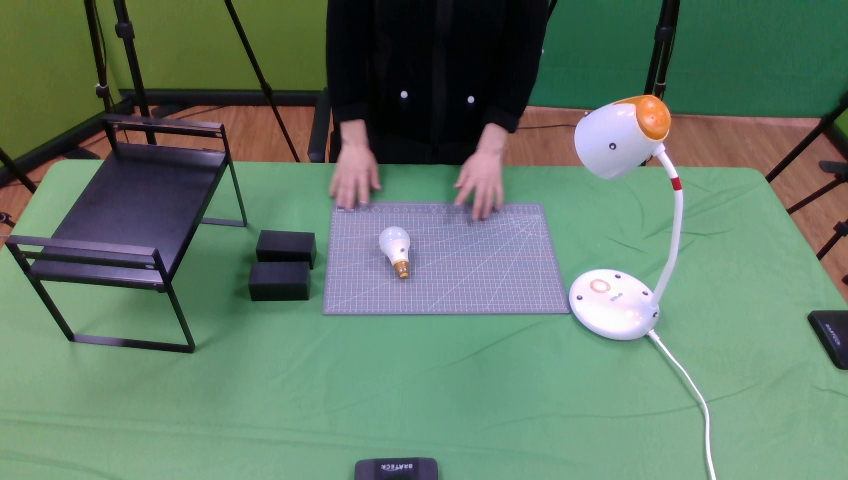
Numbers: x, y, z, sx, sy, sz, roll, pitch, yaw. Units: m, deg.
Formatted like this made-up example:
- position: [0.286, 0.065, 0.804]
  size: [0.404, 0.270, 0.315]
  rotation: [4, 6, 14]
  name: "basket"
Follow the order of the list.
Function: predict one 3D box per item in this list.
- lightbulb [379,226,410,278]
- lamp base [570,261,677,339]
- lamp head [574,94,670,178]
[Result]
- position: [-0.051, 0.023, 1.148]
  size: [0.059, 0.060, 0.107]
  rotation: [-11, 63, -14]
  name: "lightbulb"
- position: [0.360, 0.067, 1.047]
  size: [0.178, 0.181, 0.160]
  rotation: [38, 55, 26]
  name: "lamp base"
- position: [0.304, -0.158, 0.898]
  size: [0.113, 0.123, 0.112]
  rotation: [5, 79, -25]
  name: "lamp head"
